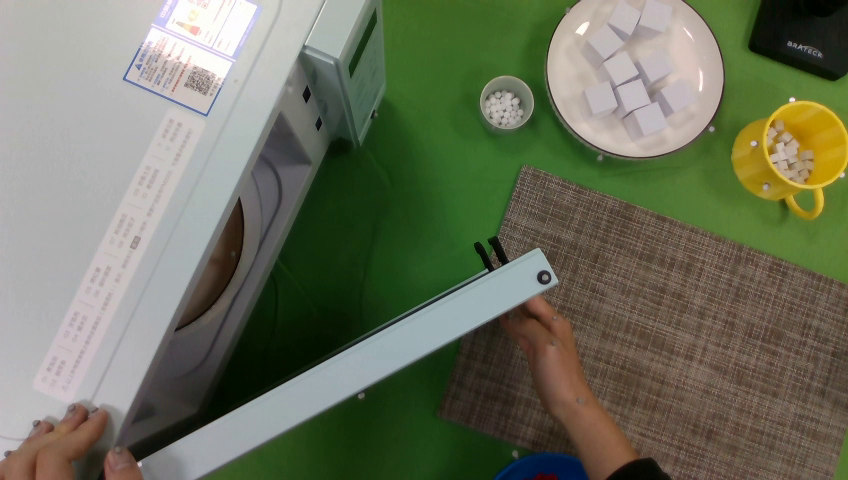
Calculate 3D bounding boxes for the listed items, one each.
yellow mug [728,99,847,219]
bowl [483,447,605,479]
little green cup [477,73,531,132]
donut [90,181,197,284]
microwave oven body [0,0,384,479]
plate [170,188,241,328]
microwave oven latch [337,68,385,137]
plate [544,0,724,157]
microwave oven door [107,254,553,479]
[{"bbox_3d":[0.417,-0.088,0.690,0.100,0.064,0.130,-17,86,-5],"label":"yellow mug"},{"bbox_3d":[0.118,0.285,0.631,0.151,0.077,0.151,0,84,-3],"label":"bowl"},{"bbox_3d":[0.089,-0.154,0.690,0.061,0.038,0.061,0,85,-4],"label":"little green cup"},{"bbox_3d":[-0.267,-0.008,0.581,0.099,0.048,0.099,0,88,-1],"label":"donut"},{"bbox_3d":[-0.271,-0.063,0.548,0.326,0.260,0.441,24,84,-1],"label":"microwave oven body"},{"bbox_3d":[-0.282,-0.011,0.592,0.209,0.038,0.209,0,88,-5],"label":"plate"},{"bbox_3d":[-0.069,-0.156,0.664,0.030,0.029,0.079,28,84,0],"label":"microwave oven latch"},{"bbox_3d":[0.240,-0.195,0.705,0.208,0.039,0.207,0,84,-3],"label":"plate"},{"bbox_3d":[-0.072,0.110,0.538,0.356,0.244,0.039,-28,85,-5],"label":"microwave oven door"}]
